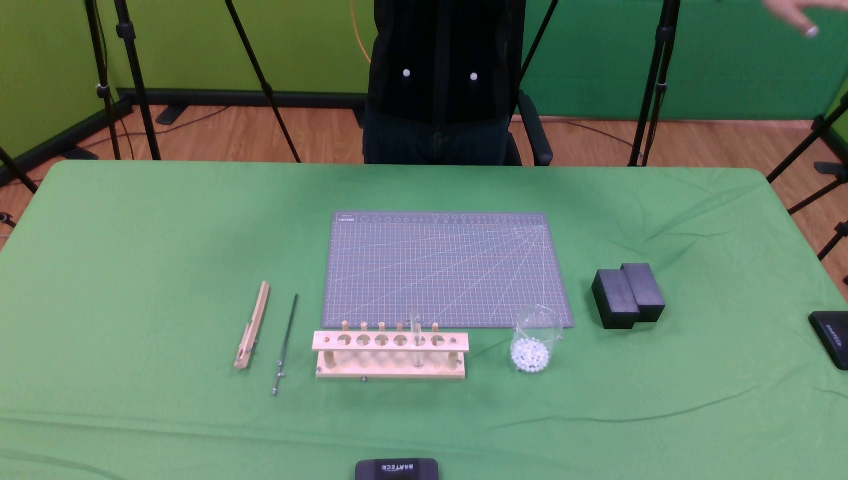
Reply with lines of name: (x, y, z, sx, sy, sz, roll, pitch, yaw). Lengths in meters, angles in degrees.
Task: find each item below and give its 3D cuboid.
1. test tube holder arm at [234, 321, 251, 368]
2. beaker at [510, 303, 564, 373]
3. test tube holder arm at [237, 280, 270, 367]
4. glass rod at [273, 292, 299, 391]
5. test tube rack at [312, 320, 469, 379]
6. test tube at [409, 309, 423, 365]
test tube holder arm: (-0.299, 0.173, 1.013, 0.010, 0.015, 0.087, -16, 42, 22)
beaker: (0.182, 0.164, 1.000, 0.074, 0.101, 0.083, 2, 45, -1)
test tube holder arm: (-0.291, 0.139, 1.042, 0.013, 0.015, 0.177, -17, 42, 22)
glass rod: (-0.233, 0.167, 1.030, 0.008, 0.008, 0.198, 3, 46, 0)
test tube rack: (-0.054, 0.173, 0.984, 0.242, 0.085, 0.066, 1, 46, -3)
test tube: (-0.012, 0.153, 0.937, 0.017, 0.151, 0.017, -1, 50, 2)
